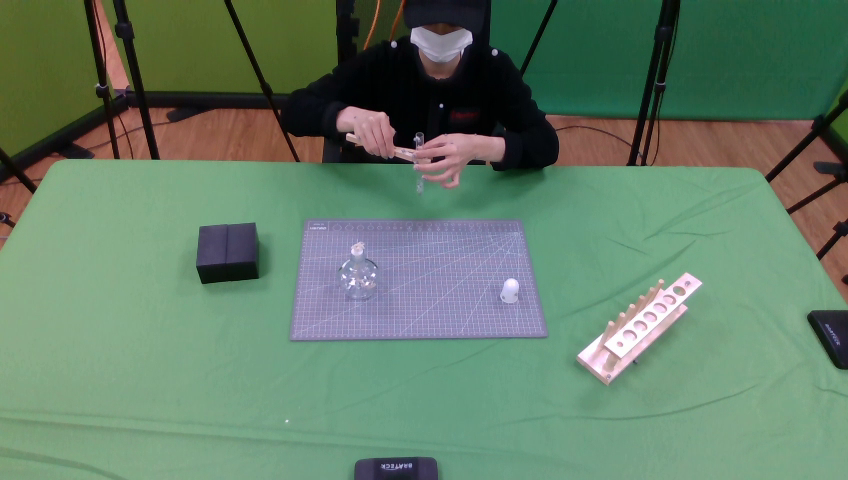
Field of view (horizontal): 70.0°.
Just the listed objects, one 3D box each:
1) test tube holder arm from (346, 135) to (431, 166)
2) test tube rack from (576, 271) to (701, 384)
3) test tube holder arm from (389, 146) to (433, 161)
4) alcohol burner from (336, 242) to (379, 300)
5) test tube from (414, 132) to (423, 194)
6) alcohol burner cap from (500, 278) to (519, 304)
[{"bbox_3d":[-0.071,-0.175,1.177,0.178,0.015,0.013,17,45,12],"label":"test tube holder arm"},{"bbox_3d":[0.373,0.138,1.047,0.242,0.085,0.066,-31,56,-29],"label":"test tube rack"},{"bbox_3d":[-0.027,-0.168,1.173,0.088,0.015,0.010,9,45,4],"label":"test tube holder arm"},{"bbox_3d":[-0.118,0.050,1.072,0.078,0.120,0.077,2,44,-1],"label":"alcohol burner"},{"bbox_3d":[-0.010,-0.148,1.183,0.017,0.151,0.017,0,48,0],"label":"test tube"},{"bbox_3d":[0.157,0.090,1.104,0.034,0.048,0.033,2,46,-2],"label":"alcohol burner cap"}]
